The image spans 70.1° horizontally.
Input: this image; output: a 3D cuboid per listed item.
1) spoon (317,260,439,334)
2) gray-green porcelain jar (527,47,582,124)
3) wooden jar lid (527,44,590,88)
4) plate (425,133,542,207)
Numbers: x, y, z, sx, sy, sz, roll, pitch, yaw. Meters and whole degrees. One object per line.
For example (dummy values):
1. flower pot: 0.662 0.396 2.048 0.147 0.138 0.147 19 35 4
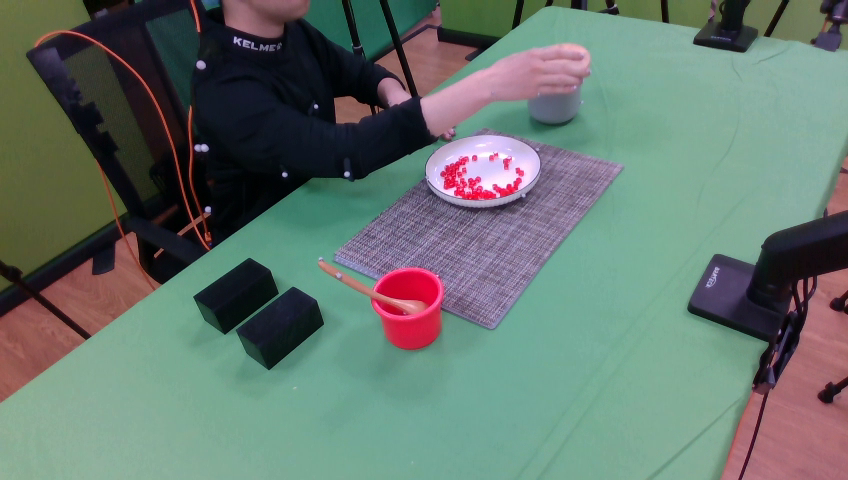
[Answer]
1. spoon: -0.056 0.075 0.788 0.195 0.021 0.041 27 42 -21
2. gray-green porcelain jar: 0.260 -0.304 1.207 0.106 0.127 0.105 -4 41 4
3. wooden jar lid: 0.234 -0.300 1.051 0.108 0.021 0.108 -12 48 15
4. plate: 0.106 -0.122 1.079 0.207 0.039 0.206 -4 41 4
